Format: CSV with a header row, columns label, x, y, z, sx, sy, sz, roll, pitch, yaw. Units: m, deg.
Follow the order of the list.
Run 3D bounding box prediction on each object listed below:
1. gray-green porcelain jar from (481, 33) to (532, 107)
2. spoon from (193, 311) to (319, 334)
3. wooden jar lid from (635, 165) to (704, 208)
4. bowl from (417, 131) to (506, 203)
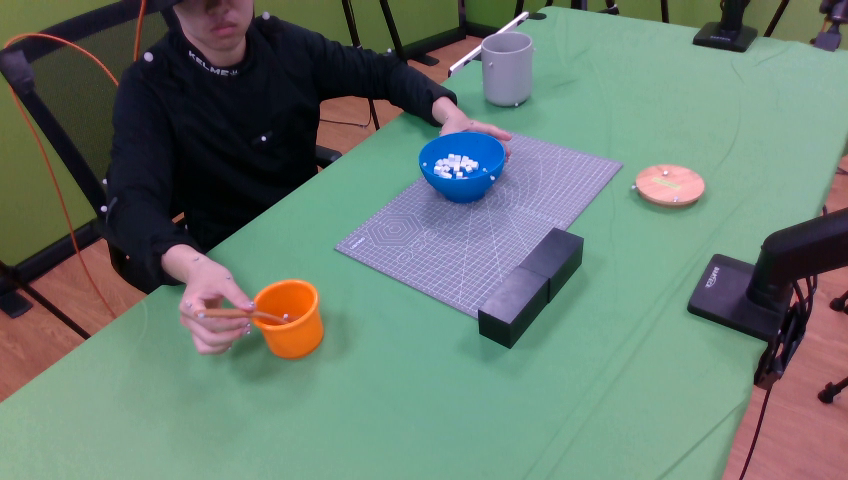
label,x,y,z,sx,sy,sz,roll,pitch,yaw
gray-green porcelain jar,0.175,-0.355,1.278,0.106,0.127,0.105,-4,41,4
spoon,-0.211,0.102,0.780,0.041,0.195,0.021,29,95,37
wooden jar lid,0.410,-0.089,1.014,0.108,0.021,0.108,-5,42,5
bowl,0.067,-0.116,1.048,0.151,0.077,0.150,-4,40,4
